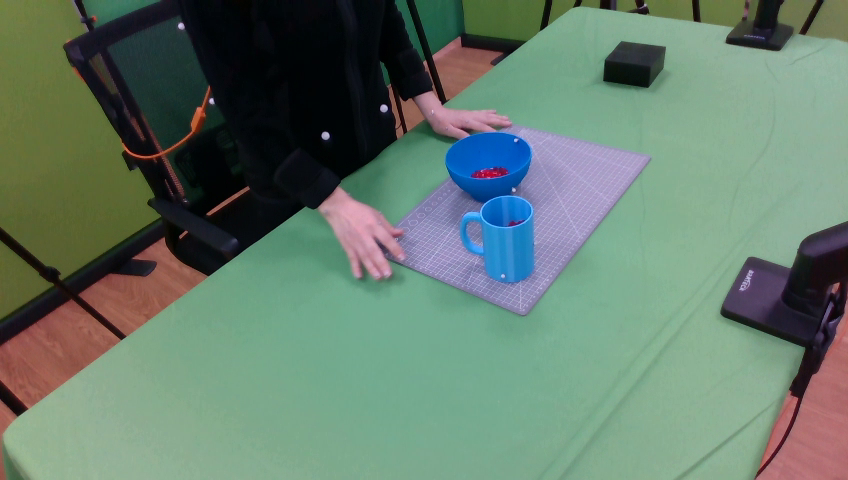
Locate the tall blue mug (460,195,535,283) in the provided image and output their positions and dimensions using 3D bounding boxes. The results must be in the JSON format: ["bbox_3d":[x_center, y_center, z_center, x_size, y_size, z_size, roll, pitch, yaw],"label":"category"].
[{"bbox_3d":[0.109,0.001,0.891,0.107,0.108,0.077,-8,41,1],"label":"tall blue mug"}]

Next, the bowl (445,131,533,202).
[{"bbox_3d":[0.115,-0.119,1.056,0.151,0.077,0.150,-6,40,5],"label":"bowl"}]
